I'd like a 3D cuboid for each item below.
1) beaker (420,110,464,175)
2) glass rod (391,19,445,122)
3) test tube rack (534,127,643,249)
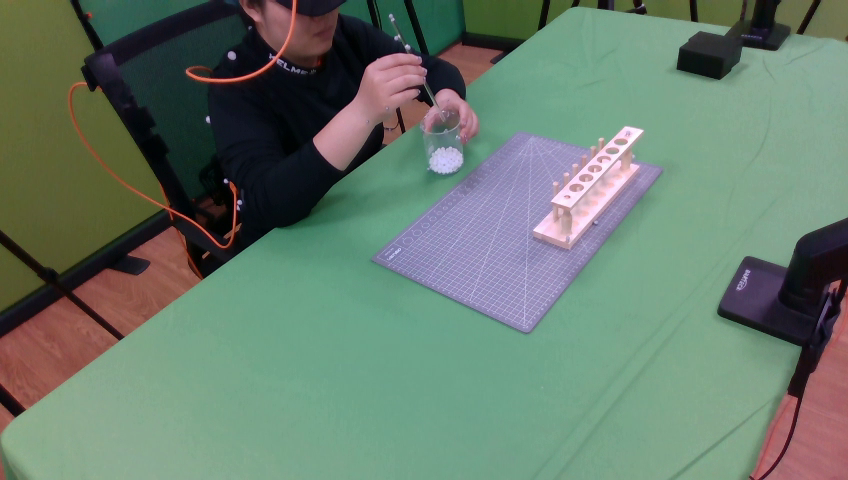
[{"bbox_3d":[0.037,-0.180,1.123,0.073,0.101,0.084,10,48,20],"label":"beaker"},{"bbox_3d":[-0.007,-0.267,0.972,0.008,0.201,0.008,-17,43,17],"label":"glass rod"},{"bbox_3d":[0.271,-0.094,0.990,0.066,0.085,0.243,23,50,34],"label":"test tube rack"}]
